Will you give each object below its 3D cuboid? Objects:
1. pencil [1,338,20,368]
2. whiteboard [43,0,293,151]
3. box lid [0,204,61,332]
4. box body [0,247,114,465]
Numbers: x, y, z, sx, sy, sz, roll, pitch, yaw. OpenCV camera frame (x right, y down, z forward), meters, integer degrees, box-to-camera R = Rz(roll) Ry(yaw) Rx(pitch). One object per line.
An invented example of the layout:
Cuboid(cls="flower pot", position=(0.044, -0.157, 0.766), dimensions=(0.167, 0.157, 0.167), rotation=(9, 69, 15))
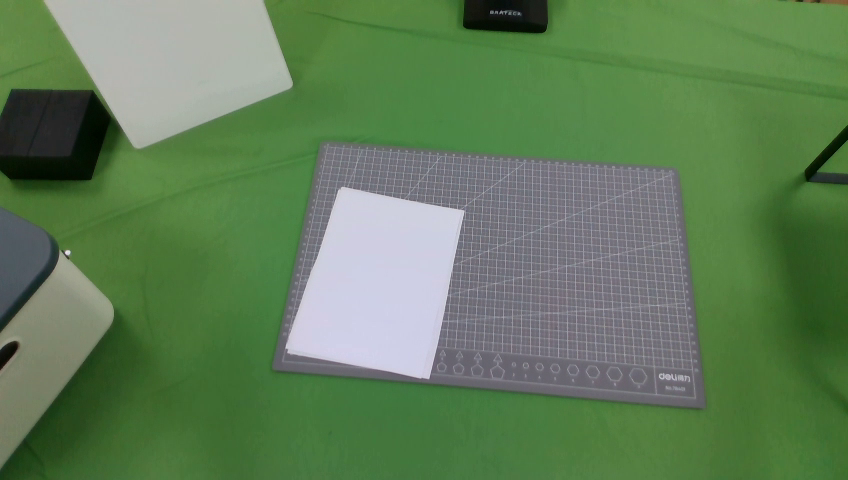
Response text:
Cuboid(cls="pencil", position=(-0.426, 0.122, 0.626), dimensions=(0.012, 0.012, 0.192), rotation=(6, 54, 3))
Cuboid(cls="whiteboard", position=(-0.323, -0.304, 0.723), dimensions=(0.217, 0.308, 0.142), rotation=(-26, 46, -13))
Cuboid(cls="box lid", position=(-0.531, 0.030, 0.512), dimensions=(0.370, 0.015, 0.262), rotation=(24, 65, 10))
Cuboid(cls="box body", position=(-0.529, 0.065, 0.577), dimensions=(0.363, 0.161, 0.253), rotation=(24, 65, 11))
